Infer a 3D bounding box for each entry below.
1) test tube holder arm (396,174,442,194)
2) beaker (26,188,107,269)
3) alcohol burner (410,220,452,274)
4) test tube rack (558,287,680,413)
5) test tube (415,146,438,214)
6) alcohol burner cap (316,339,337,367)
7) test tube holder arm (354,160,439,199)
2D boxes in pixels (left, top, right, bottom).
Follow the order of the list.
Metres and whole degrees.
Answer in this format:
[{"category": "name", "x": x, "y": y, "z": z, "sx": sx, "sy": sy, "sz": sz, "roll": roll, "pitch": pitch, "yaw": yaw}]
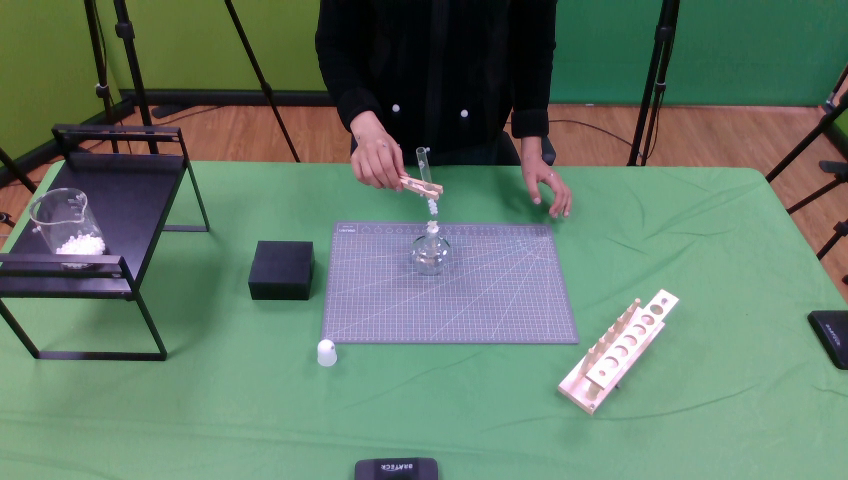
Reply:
[{"category": "test tube holder arm", "x": -0.010, "y": -0.096, "z": 1.033, "sx": 0.087, "sy": 0.015, "sz": 0.010, "roll": 16, "pitch": 53, "yaw": 22}, {"category": "beaker", "x": -0.504, "y": -0.013, "z": 0.868, "sx": 0.084, "sy": 0.101, "sz": 0.074, "roll": 23, "pitch": 49, "yaw": 17}, {"category": "alcohol burner", "x": 0.013, "y": 0.007, "z": 1.120, "sx": 0.078, "sy": 0.120, "sz": 0.077, "roll": 1, "pitch": 48, "yaw": -1}, {"category": "test tube rack", "x": 0.326, "y": 0.170, "z": 1.009, "sx": 0.066, "sy": 0.085, "sz": 0.242, "roll": 36, "pitch": 54, "yaw": 26}, {"category": "test tube", "x": 0.005, "y": -0.097, "z": 1.010, "sx": 0.017, "sy": 0.151, "sz": 0.017, "roll": -6, "pitch": 49, "yaw": 7}, {"category": "alcohol burner cap", "x": -0.161, "y": 0.182, "z": 0.995, "sx": 0.034, "sy": 0.048, "sz": 0.033, "roll": 2, "pitch": 47, "yaw": -2}, {"category": "test tube holder arm", "x": -0.051, "y": -0.106, "z": 1.049, "sx": 0.177, "sy": 0.015, "sz": 0.013, "roll": 22, "pitch": 55, "yaw": 26}]
